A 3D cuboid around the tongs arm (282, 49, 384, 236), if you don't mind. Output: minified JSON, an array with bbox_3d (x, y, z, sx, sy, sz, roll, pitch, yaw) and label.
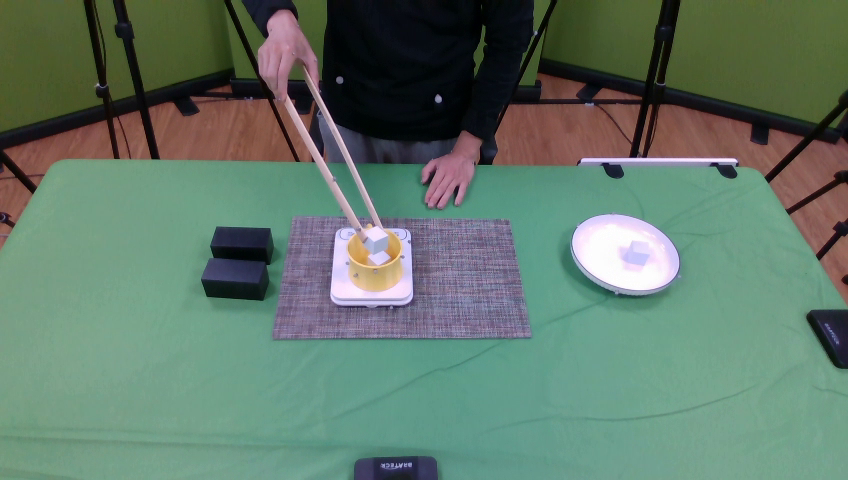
[{"bbox_3d":[-0.160,-0.177,1.066,0.028,0.028,0.386,-22,76,-22],"label":"tongs arm"}]

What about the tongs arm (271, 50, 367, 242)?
[{"bbox_3d":[-0.180,-0.169,1.056,0.051,0.026,0.383,-26,78,-27],"label":"tongs arm"}]

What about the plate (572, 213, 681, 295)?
[{"bbox_3d":[0.392,0.030,1.189,0.208,0.039,0.206,2,46,-2],"label":"plate"}]

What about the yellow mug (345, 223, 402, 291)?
[{"bbox_3d":[-0.092,0.022,1.093,0.100,0.064,0.130,-8,46,-10],"label":"yellow mug"}]

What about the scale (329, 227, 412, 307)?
[{"bbox_3d":[-0.099,0.042,1.139,0.149,0.032,0.199,1,46,-4],"label":"scale"}]
